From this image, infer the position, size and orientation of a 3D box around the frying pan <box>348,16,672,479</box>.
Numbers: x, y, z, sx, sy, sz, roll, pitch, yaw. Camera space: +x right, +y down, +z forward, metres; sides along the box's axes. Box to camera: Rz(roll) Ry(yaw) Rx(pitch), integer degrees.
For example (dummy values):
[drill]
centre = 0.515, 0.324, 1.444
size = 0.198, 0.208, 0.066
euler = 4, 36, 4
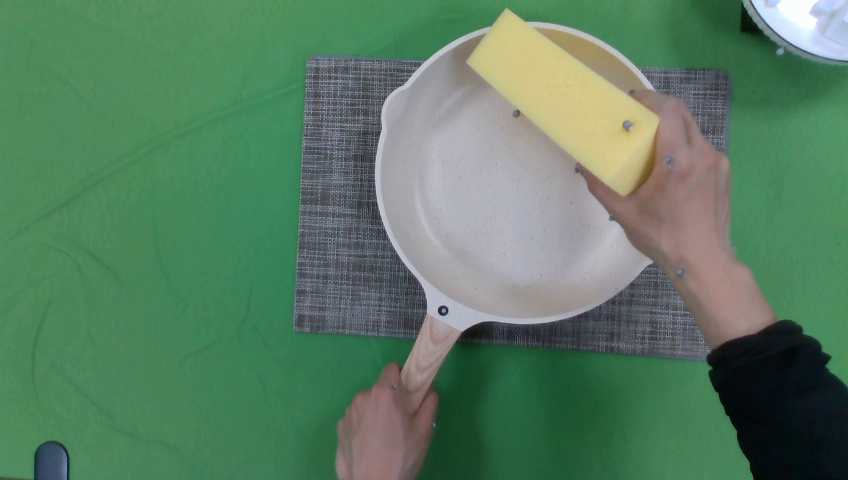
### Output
[frying pan]
centre = 0.047, 0.021, 0.603
size = 0.306, 0.103, 0.487
euler = 28, 84, 5

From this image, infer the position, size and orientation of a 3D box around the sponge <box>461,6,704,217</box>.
[sponge]
centre = 0.137, -0.117, 0.542
size = 0.061, 0.119, 0.204
euler = -51, 49, 16

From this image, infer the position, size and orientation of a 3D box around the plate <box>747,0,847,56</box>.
[plate]
centre = 0.390, -0.272, 0.564
size = 0.207, 0.039, 0.207
euler = 0, 91, 3
